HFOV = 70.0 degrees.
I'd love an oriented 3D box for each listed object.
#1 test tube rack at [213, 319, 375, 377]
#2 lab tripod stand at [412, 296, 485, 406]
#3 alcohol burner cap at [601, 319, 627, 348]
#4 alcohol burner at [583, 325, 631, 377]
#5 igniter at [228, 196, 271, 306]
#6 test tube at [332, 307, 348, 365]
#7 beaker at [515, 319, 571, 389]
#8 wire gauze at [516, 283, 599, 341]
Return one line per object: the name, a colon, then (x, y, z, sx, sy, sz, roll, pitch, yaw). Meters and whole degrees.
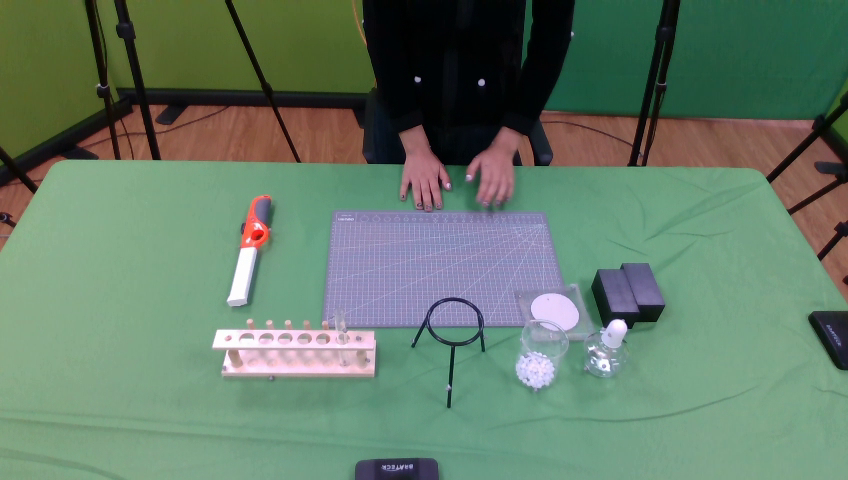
test tube rack: (-0.202, 0.170, 0.977, 0.242, 0.085, 0.066, 1, 46, -3)
lab tripod stand: (0.045, 0.168, 0.963, 0.148, 0.132, 0.147, 3, 47, -3)
alcohol burner cap: (0.305, 0.146, 0.966, 0.034, 0.048, 0.033, 6, 41, -5)
alcohol burner: (0.304, 0.171, 0.991, 0.078, 0.120, 0.077, 2, 48, -2)
igniter: (-0.332, 0.011, 1.160, 0.057, 0.025, 0.274, -6, 46, 5)
test tube: (-0.128, 0.151, 0.931, 0.017, 0.151, 0.017, 1, 50, -2)
beaker: (0.186, 0.186, 0.980, 0.074, 0.101, 0.083, -23, 51, -24)
wire gauze: (0.240, 0.131, 1.094, 0.125, 0.011, 0.120, -3, 48, -8)
